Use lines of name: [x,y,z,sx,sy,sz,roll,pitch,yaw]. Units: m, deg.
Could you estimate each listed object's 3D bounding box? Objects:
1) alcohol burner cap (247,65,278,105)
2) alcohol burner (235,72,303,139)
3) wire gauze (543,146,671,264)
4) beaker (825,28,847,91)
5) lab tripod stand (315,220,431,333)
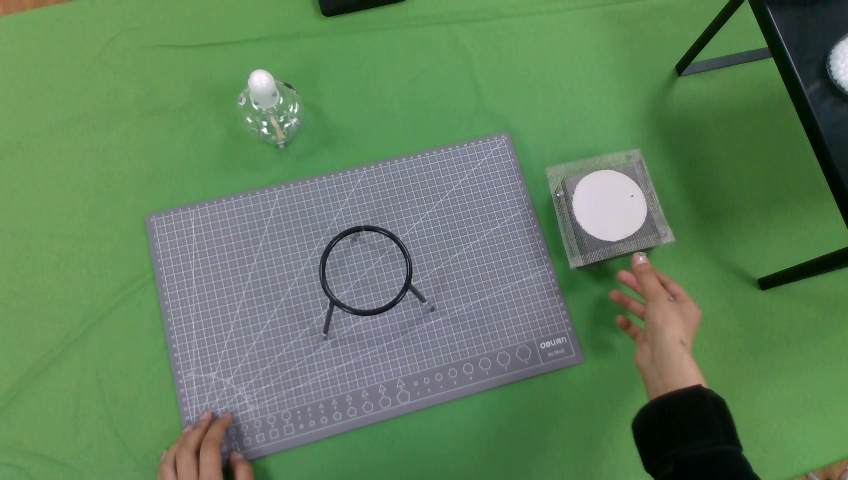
alcohol burner cap: [-0.178,-0.171,0.662,0.034,0.048,0.033,2,80,-8]
alcohol burner: [-0.180,-0.164,0.696,0.078,0.119,0.077,2,76,-6]
wire gauze: [0.209,-0.044,0.699,0.121,0.011,0.124,-12,76,-4]
beaker: [0.441,-0.188,0.571,0.084,0.100,0.073,-28,79,-10]
lab tripod stand: [-0.059,0.039,0.641,0.148,0.132,0.147,2,74,-5]
